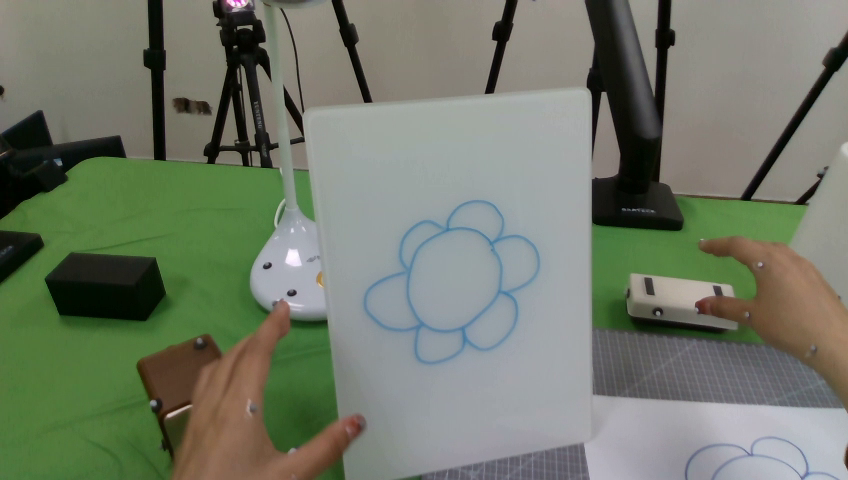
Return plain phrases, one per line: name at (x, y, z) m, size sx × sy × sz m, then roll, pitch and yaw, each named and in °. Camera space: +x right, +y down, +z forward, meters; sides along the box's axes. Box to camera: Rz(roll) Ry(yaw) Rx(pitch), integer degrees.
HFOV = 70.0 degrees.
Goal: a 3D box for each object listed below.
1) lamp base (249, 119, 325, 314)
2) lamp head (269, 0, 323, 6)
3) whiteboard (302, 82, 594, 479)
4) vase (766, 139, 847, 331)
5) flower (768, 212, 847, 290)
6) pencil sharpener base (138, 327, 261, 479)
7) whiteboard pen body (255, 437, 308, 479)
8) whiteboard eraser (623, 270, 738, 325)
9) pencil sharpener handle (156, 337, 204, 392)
lamp base at (-0.132, -0.035, 0.684) m, size 0.161 × 0.182 × 0.177 m, roll -25°, pitch 39°, yaw -33°
lamp head at (-0.113, -0.267, 0.483) m, size 0.113 × 0.113 × 0.122 m, roll -18°, pitch 63°, yaw -25°
whiteboard at (0.019, 0.024, 0.539) m, size 0.218 × 0.307 × 0.143 m, roll -7°, pitch 16°, yaw -10°
vase at (0.436, -0.001, 0.630) m, size 0.098 × 0.201 × 0.097 m, roll 2°, pitch 34°, yaw -1°
flower at (0.444, -0.061, 0.571) m, size 0.044 × 0.364 × 0.038 m, roll -9°, pitch 53°, yaw -25°
pencil sharpener base at (-0.182, 0.136, 0.492) m, size 0.061 × 0.108 × 0.076 m, roll -21°, pitch 40°, yaw -29°
whiteboard pen body at (-0.138, 0.203, 0.468) m, size 0.017 × 0.017 × 0.140 m, roll 18°, pitch 34°, yaw 24°
whiteboard eraser at (0.280, 0.065, 0.669) m, size 0.112 × 0.042 × 0.055 m, roll 5°, pitch 32°, yaw 9°
pencil sharpener handle at (-0.209, 0.102, 0.520) m, size 0.036 × 0.068 × 0.030 m, roll -28°, pitch 43°, yaw -23°
